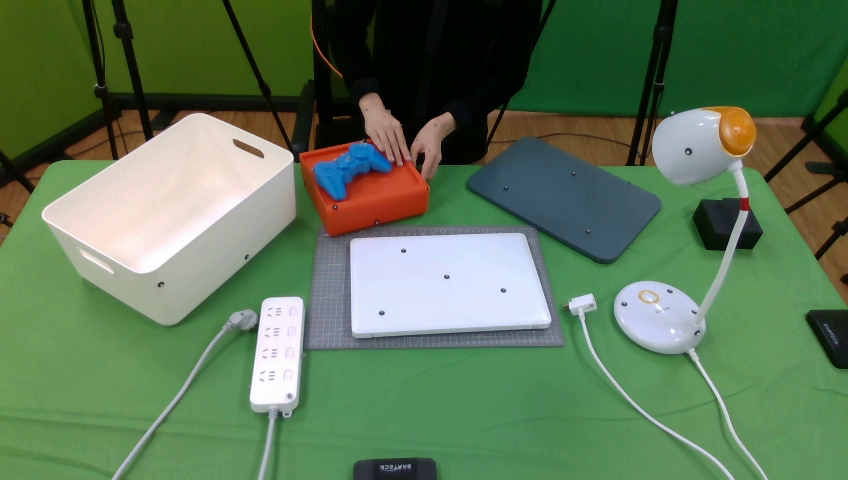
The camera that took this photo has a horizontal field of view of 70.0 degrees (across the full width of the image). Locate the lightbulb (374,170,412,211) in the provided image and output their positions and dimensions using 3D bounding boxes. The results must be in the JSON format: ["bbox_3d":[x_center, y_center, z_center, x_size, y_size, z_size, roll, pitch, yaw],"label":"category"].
[{"bbox_3d":[-0.069,-0.100,1.256,0.059,0.060,0.107,27,61,20],"label":"lightbulb"}]

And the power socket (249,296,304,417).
[{"bbox_3d":[-0.239,0.182,0.997,0.072,0.033,0.225,-2,47,-5],"label":"power socket"}]

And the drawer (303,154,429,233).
[{"bbox_3d":[-0.124,-0.120,1.262,0.212,0.073,0.193,-16,50,-19],"label":"drawer"}]

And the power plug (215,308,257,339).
[{"bbox_3d":[-0.317,0.143,1.024,0.072,0.053,0.035,-32,58,-9],"label":"power plug"}]

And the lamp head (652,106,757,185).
[{"bbox_3d":[0.411,-0.139,0.869,0.113,0.122,0.112,0,89,-19],"label":"lamp head"}]

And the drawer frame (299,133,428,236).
[{"bbox_3d":[-0.127,-0.120,1.260,0.214,0.083,0.200,-16,49,-19],"label":"drawer frame"}]

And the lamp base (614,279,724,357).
[{"bbox_3d":[0.436,0.090,1.034,0.161,0.181,0.178,-23,55,-23],"label":"lamp base"}]

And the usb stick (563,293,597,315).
[{"bbox_3d":[0.280,0.118,1.093,0.059,0.021,0.027,-18,35,25],"label":"usb stick"}]

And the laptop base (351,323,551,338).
[{"bbox_3d":[0.040,0.080,1.125,0.355,0.023,0.234,-2,43,-6],"label":"laptop base"}]

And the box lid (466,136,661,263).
[{"bbox_3d":[0.306,-0.102,1.327,0.370,0.015,0.263,32,52,25],"label":"box lid"}]

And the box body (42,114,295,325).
[{"bbox_3d":[-0.437,-0.046,1.110,0.253,0.161,0.363,24,49,19],"label":"box body"}]

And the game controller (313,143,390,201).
[{"bbox_3d":[-0.149,-0.146,1.213,0.096,0.052,0.155,32,50,30],"label":"game controller"}]

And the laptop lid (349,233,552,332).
[{"bbox_3d":[0.040,0.070,1.119,0.357,0.013,0.240,-1,44,-5],"label":"laptop lid"}]
